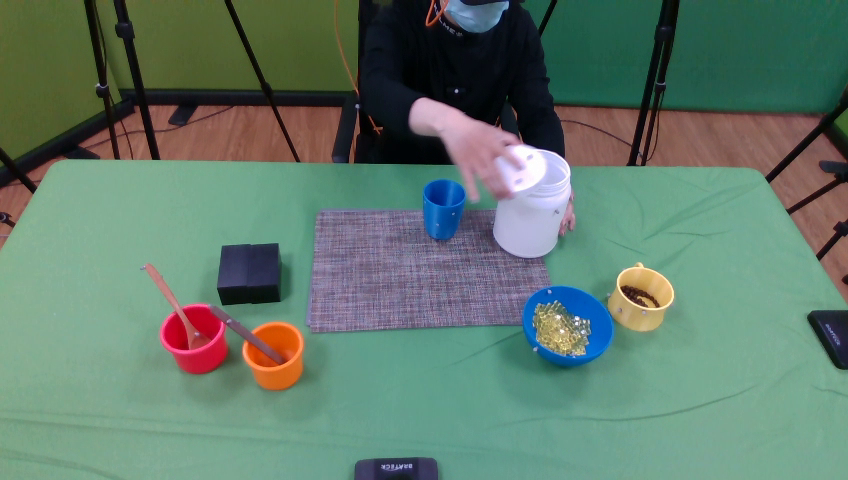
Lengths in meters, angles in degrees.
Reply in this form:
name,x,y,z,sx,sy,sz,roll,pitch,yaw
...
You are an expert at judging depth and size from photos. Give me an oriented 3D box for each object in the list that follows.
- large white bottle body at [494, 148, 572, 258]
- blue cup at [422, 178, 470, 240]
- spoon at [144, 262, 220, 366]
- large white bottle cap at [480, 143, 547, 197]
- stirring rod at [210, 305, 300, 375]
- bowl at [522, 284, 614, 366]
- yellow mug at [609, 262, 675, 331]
name,x,y,z,sx,sy,sz,roll,pitch,yaw
large white bottle body,0.208,-0.071,1.160,0.131,0.185,0.130,2,46,-1
blue cup,0.036,-0.056,1.192,0.093,0.101,0.092,3,45,-3
spoon,-0.389,0.118,0.971,0.041,0.021,0.194,-34,101,-33
large white bottle cap,0.153,-0.121,1.042,0.115,0.018,0.114,-6,52,8
stirring rod,-0.262,0.158,0.947,0.177,0.006,0.014,43,43,-22
bowl,0.235,0.158,1.022,0.151,0.077,0.150,2,46,-2
yellow mug,0.393,0.094,1.103,0.100,0.064,0.130,7,45,4
